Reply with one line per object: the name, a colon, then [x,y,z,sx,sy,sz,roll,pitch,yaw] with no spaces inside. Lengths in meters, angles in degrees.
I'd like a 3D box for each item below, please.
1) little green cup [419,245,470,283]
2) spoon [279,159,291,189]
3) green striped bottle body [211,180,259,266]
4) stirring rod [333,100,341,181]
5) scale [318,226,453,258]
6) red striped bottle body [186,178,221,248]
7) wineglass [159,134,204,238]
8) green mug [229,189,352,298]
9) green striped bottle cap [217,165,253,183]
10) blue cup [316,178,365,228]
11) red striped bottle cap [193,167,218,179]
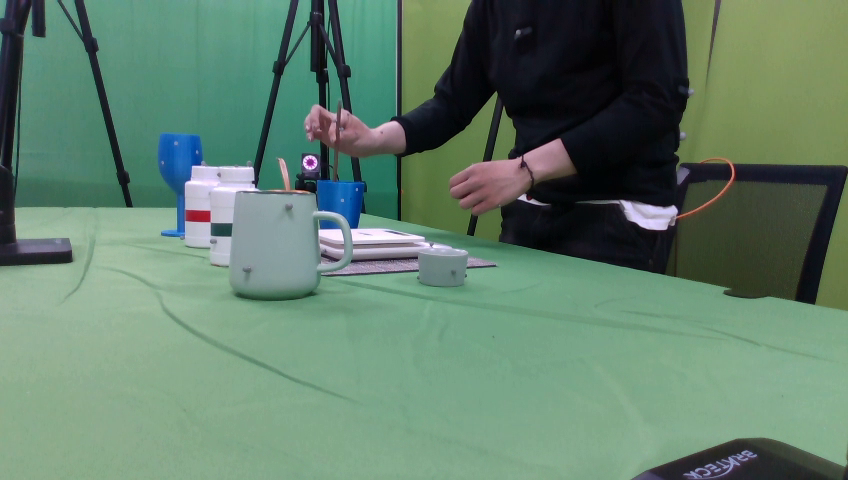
little green cup: [0.023,0.028,0.712,0.061,0.038,0.061,2,6,0]
spoon: [-0.281,-0.103,1.251,0.042,0.193,0.021,4,-38,-27]
green striped bottle body: [-0.243,-0.029,0.784,0.063,0.119,0.063,2,7,0]
stirring rod: [-0.154,-0.157,1.063,0.006,0.176,0.014,3,2,-26]
scale: [-0.066,0.001,0.906,0.202,0.031,0.148,-2,8,-31]
red striped bottle body: [-0.331,-0.050,0.927,0.063,0.119,0.063,2,6,0]
wineglass: [-0.415,-0.093,1.040,0.074,0.172,0.073,2,7,0]
green mug: [-0.135,0.002,0.618,0.125,0.105,0.092,2,7,4]
green striped bottle cap: [-0.242,-0.085,0.777,0.044,0.020,0.044,2,9,0]
blue cup: [-0.149,-0.057,1.072,0.093,0.100,0.092,3,8,0]
red striped bottle cap: [-0.329,-0.102,0.921,0.044,0.017,0.044,1,8,0]
